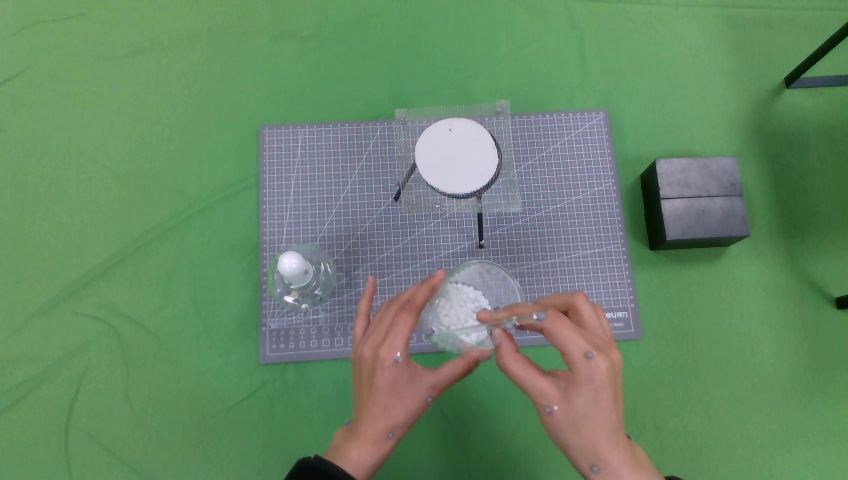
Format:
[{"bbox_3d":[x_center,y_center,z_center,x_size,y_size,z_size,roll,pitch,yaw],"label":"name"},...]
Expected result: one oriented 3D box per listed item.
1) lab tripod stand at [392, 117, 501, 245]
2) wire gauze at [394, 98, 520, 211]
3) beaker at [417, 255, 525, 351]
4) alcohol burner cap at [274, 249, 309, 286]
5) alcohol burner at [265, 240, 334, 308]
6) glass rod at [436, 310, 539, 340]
[{"bbox_3d":[0.034,-0.075,0.691,0.148,0.132,0.147,0,74,-1],"label":"lab tripod stand"},{"bbox_3d":[0.033,-0.088,0.625,0.125,0.011,0.121,-3,76,-3],"label":"wire gauze"},{"bbox_3d":[0.034,0.062,0.538,0.084,0.100,0.073,-15,80,-15],"label":"beaker"},{"bbox_3d":[-0.140,0.027,0.633,0.034,0.048,0.033,0,71,0],"label":"alcohol burner cap"},{"bbox_3d":[-0.139,0.035,0.667,0.078,0.119,0.077,1,77,-3],"label":"alcohol burner"},{"bbox_3d":[0.042,0.070,0.478,0.008,0.200,0.008,4,76,-17],"label":"glass rod"}]
